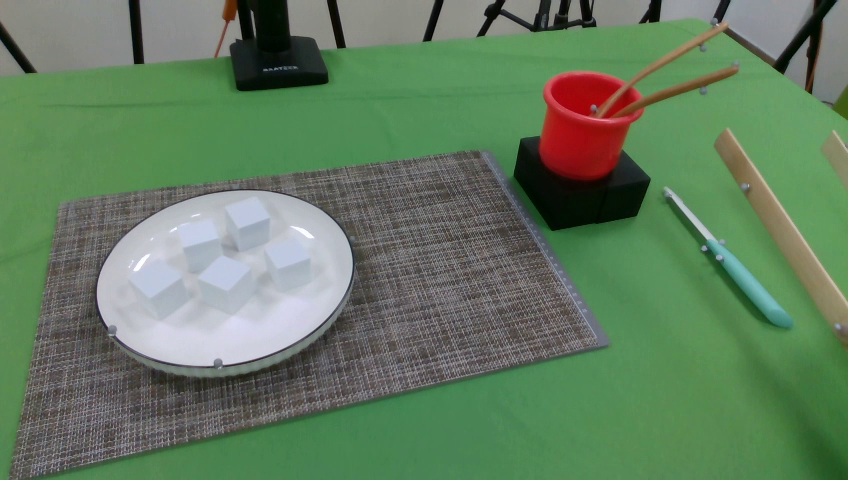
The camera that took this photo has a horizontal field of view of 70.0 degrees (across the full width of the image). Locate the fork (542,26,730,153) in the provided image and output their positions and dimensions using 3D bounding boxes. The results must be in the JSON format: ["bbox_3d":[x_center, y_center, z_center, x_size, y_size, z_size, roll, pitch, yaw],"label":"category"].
[{"bbox_3d":[0.208,-0.148,0.603,0.207,0.019,0.028,-37,22,14],"label":"fork"}]

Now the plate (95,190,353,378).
[{"bbox_3d":[-0.166,0.036,0.523,0.208,0.039,0.205,3,43,-2],"label":"plate"}]

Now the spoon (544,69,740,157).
[{"bbox_3d":[0.194,-0.116,0.566,0.041,0.193,0.022,-41,102,-43],"label":"spoon"}]

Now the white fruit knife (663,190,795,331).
[{"bbox_3d":[0.300,0.011,0.617,0.027,0.016,0.205,16,34,-31],"label":"white fruit knife"}]

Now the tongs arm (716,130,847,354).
[{"bbox_3d":[0.331,0.047,0.483,0.028,0.028,0.383,-1,51,-15],"label":"tongs arm"}]

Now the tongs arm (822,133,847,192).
[{"bbox_3d":[0.396,0.048,0.491,0.051,0.027,0.381,3,51,-7],"label":"tongs arm"}]
